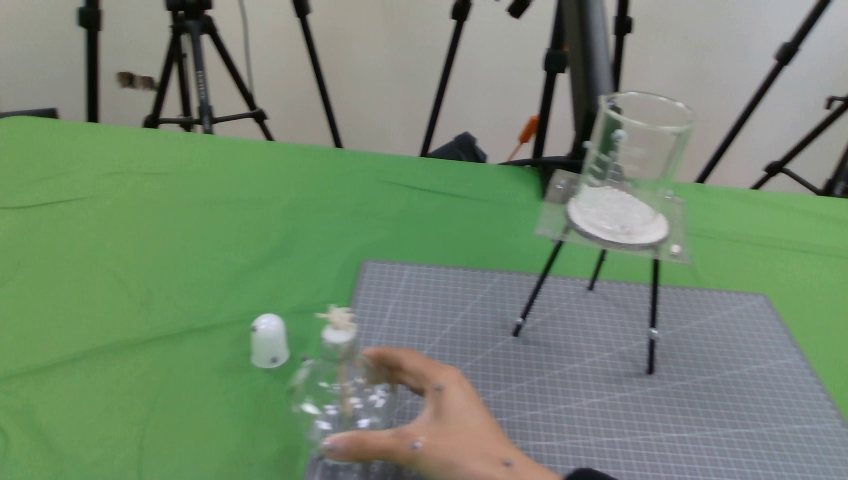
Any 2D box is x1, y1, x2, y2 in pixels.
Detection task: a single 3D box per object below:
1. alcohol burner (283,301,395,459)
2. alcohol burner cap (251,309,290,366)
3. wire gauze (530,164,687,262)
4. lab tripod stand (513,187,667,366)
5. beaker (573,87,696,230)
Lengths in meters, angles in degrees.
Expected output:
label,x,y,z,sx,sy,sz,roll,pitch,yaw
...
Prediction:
label,x,y,z,sx,sy,sz,roll,pitch,yaw
alcohol burner,-0.059,0.092,0.416,0.078,0.120,0.077,1,33,0
alcohol burner cap,-0.136,0.083,0.532,0.034,0.048,0.033,3,34,-2
wire gauze,0.163,-0.025,0.525,0.121,0.011,0.124,13,37,12
lab tripod stand,0.165,0.030,0.561,0.148,0.132,0.147,5,34,-3
beaker,0.165,-0.067,0.499,0.074,0.101,0.083,-20,43,-33
